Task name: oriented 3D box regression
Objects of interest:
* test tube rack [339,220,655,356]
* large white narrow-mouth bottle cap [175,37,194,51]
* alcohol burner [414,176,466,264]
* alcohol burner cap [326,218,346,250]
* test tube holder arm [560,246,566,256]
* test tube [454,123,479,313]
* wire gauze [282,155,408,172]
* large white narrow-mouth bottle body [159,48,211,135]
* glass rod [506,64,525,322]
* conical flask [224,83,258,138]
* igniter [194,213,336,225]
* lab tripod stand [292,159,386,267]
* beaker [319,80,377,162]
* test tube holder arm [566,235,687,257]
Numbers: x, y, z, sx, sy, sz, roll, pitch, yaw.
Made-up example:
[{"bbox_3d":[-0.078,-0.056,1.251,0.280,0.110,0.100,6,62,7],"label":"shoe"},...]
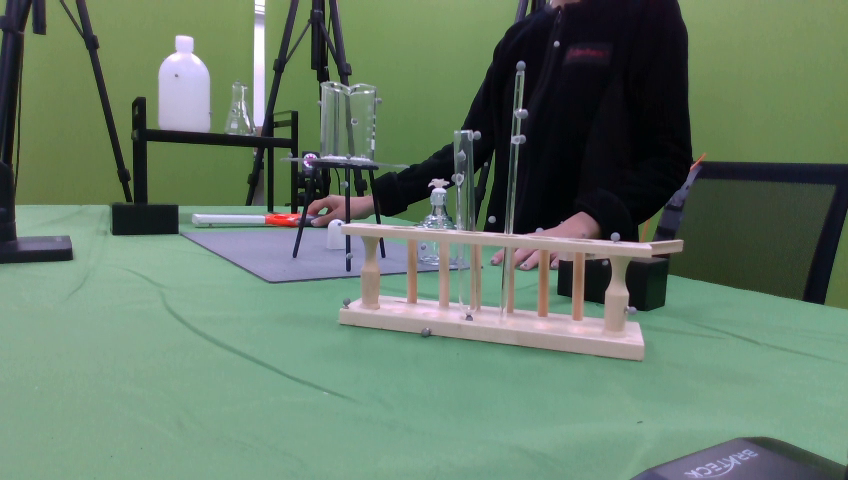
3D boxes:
[{"bbox_3d":[0.056,0.032,0.495,0.242,0.085,0.067,4,7,15],"label":"test tube rack"},{"bbox_3d":[-0.501,-0.409,1.264,0.038,0.024,0.037,2,7,0],"label":"large white narrow-mouth bottle cap"},{"bbox_3d":[0.021,-0.028,0.826,0.078,0.119,0.078,0,6,0],"label":"alcohol burner"},{"bbox_3d":[-0.133,-0.010,0.927,0.034,0.048,0.034,6,7,0],"label":"alcohol burner cap"},{"bbox_3d":[0.173,0.007,0.612,0.088,0.015,0.010,-3,9,-30],"label":"test tube holder arm"},{"bbox_3d":[0.034,-0.016,0.477,0.017,0.150,0.017,-2,9,1],"label":"test tube"},{"bbox_3d":[-0.104,-0.103,0.785,0.126,0.011,0.121,1,8,-39],"label":"wire gauze"},{"bbox_3d":[-0.503,-0.323,1.275,0.102,0.194,0.102,2,7,0],"label":"large white narrow-mouth bottle body"},{"bbox_3d":[0.069,-0.030,0.458,0.008,0.199,0.008,0,15,0],"label":"glass rod"},{"bbox_3d":[-0.422,-0.299,1.395,0.075,0.122,0.075,2,7,0],"label":"conical flask"},{"bbox_3d":[-0.305,-0.041,1.194,0.278,0.025,0.057,-1,9,-31],"label":"igniter"},{"bbox_3d":[-0.104,-0.039,0.798,0.148,0.131,0.148,2,5,0],"label":"lab tripod stand"},{"bbox_3d":[-0.098,-0.150,0.777,0.074,0.100,0.084,1,7,-7],"label":"beaker"},{"bbox_3d":[0.215,0.006,0.630,0.179,0.015,0.013,-3,9,-31],"label":"test tube holder arm"}]
